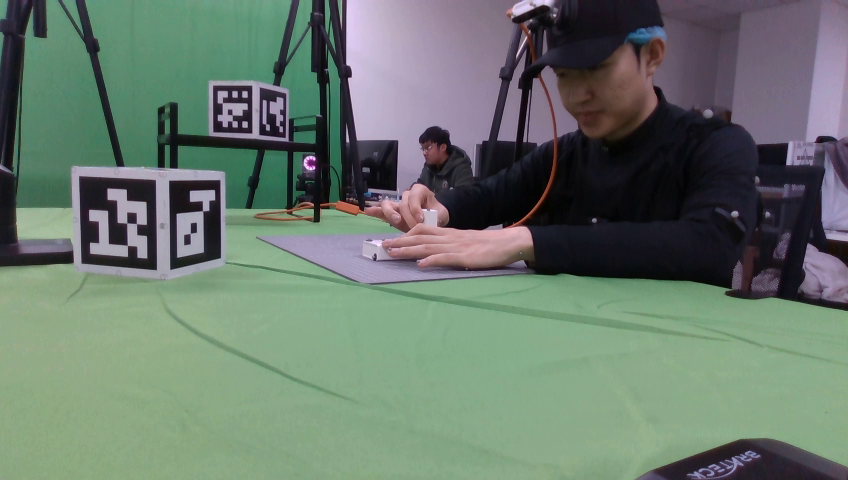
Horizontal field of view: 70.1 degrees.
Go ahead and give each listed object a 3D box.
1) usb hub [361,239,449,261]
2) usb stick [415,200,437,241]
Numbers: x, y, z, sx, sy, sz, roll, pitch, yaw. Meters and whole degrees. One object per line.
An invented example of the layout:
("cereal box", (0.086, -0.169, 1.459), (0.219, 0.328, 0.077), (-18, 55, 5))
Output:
("usb hub", (-0.027, 0.013, 0.895), (0.126, 0.025, 0.049), (-1, 7, -32))
("usb stick", (0.003, -0.030, 0.901), (0.027, 0.059, 0.021), (3, 17, 28))
